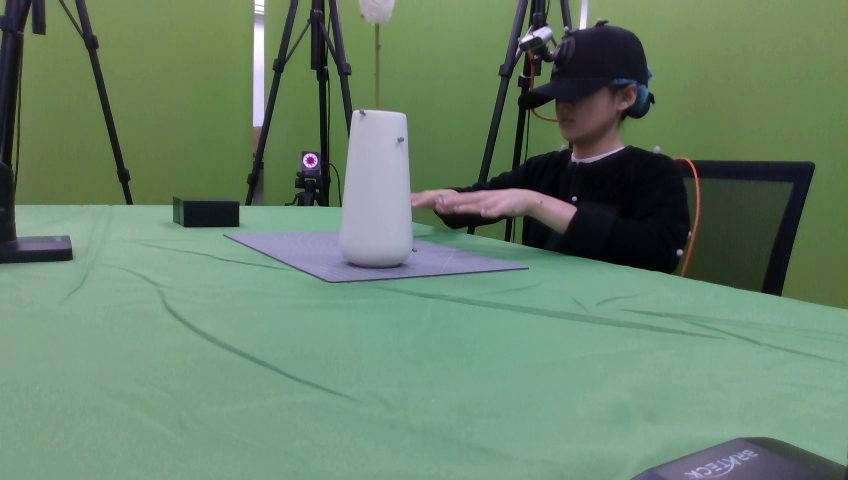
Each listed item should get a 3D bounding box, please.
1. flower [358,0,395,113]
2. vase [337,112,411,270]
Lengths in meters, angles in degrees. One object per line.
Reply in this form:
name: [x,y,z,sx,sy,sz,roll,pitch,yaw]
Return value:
flower: [-0.059,-0.142,0.761,0.044,0.361,0.038,13,27,25]
vase: [-0.064,-0.064,0.790,0.098,0.200,0.098,2,7,0]
